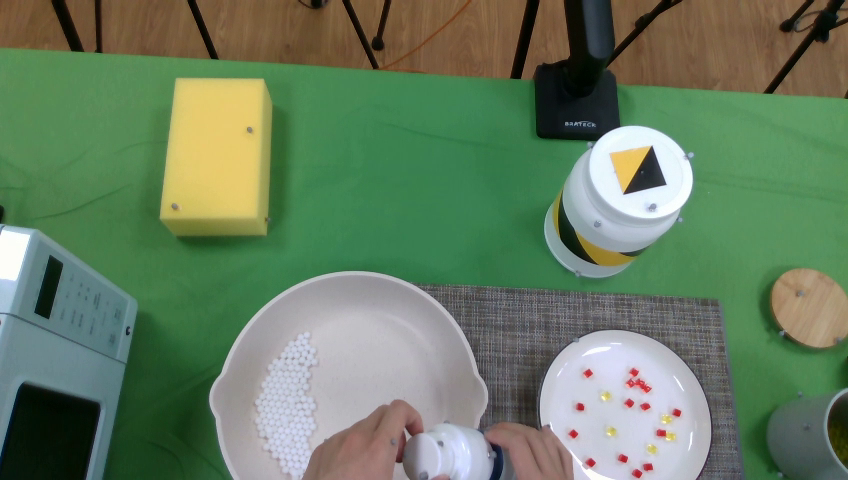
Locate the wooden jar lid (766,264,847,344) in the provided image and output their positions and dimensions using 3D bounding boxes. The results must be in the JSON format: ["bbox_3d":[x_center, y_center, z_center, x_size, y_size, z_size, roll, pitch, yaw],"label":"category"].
[{"bbox_3d":[0.505,0.086,0.802,0.108,0.021,0.107,1,71,-3],"label":"wooden jar lid"}]

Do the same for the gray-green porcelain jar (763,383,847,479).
[{"bbox_3d":[0.464,0.223,0.692,0.106,0.127,0.105,1,69,-3],"label":"gray-green porcelain jar"}]

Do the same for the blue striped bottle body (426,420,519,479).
[{"bbox_3d":[0.036,0.206,0.575,0.063,0.122,0.062,-15,63,33],"label":"blue striped bottle body"}]

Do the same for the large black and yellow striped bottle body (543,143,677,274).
[{"bbox_3d":[0.229,-0.045,0.745,0.131,0.185,0.130,1,69,-3],"label":"large black and yellow striped bottle body"}]

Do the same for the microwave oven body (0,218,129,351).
[{"bbox_3d":[-0.513,0.216,0.558,0.326,0.261,0.438,4,70,-2],"label":"microwave oven body"}]

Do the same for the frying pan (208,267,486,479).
[{"bbox_3d":[-0.087,0.269,0.650,0.307,0.103,0.483,2,61,-1],"label":"frying pan"}]

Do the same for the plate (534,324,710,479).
[{"bbox_3d":[0.233,0.206,0.727,0.209,0.038,0.207,1,70,-3],"label":"plate"}]

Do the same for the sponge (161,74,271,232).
[{"bbox_3d":[-0.272,-0.116,0.805,0.118,0.061,0.205,-2,71,-4],"label":"sponge"}]

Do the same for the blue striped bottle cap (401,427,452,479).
[{"bbox_3d":[0.001,0.188,0.532,0.044,0.021,0.044,-9,75,37],"label":"blue striped bottle cap"}]

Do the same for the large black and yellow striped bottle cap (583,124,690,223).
[{"bbox_3d":[0.233,-0.075,0.665,0.115,0.019,0.114,1,69,-2],"label":"large black and yellow striped bottle cap"}]

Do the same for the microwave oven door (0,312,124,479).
[{"bbox_3d":[-0.370,0.263,0.544,0.039,0.245,0.353,3,69,-2],"label":"microwave oven door"}]

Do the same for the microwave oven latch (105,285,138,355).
[{"bbox_3d":[-0.362,0.094,0.715,0.030,0.029,0.078,6,70,-2],"label":"microwave oven latch"}]
